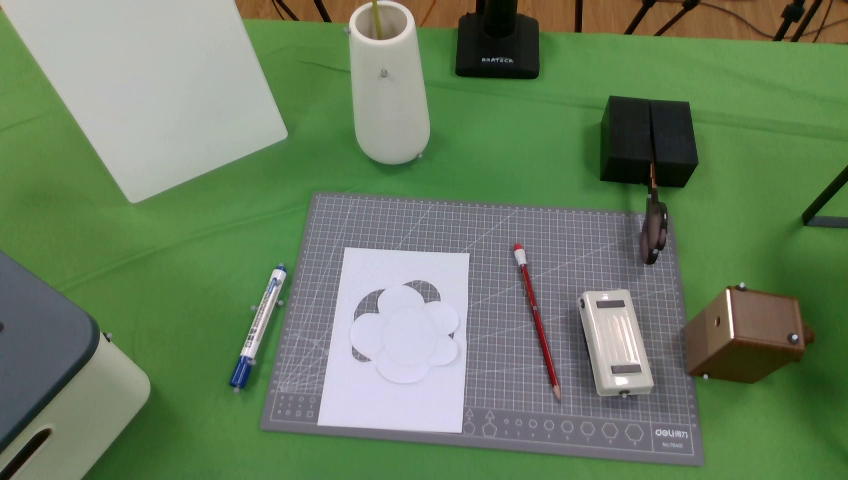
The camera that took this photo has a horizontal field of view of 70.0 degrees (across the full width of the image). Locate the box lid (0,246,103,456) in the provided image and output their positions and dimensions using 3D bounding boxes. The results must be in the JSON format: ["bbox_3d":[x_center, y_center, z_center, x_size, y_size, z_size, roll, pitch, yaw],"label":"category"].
[{"bbox_3d":[-0.489,0.085,0.513,0.369,0.015,0.262,28,64,16],"label":"box lid"}]

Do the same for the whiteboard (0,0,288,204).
[{"bbox_3d":[-0.334,-0.240,0.736,0.217,0.308,0.142,-27,44,-13],"label":"whiteboard"}]

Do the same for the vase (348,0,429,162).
[{"bbox_3d":[-0.044,-0.185,0.727,0.098,0.201,0.097,-1,59,2],"label":"vase"}]

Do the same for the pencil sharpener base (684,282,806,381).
[{"bbox_3d":[0.322,0.095,0.614,0.076,0.108,0.061,8,60,2],"label":"pencil sharpener base"}]

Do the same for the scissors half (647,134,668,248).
[{"bbox_3d":[0.270,-0.064,0.711,0.013,0.040,0.173,10,52,1],"label":"scissors half"}]

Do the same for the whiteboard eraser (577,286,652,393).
[{"bbox_3d":[0.201,0.106,0.646,0.055,0.042,0.111,-4,61,0],"label":"whiteboard eraser"}]

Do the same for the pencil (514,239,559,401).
[{"bbox_3d":[0.126,0.085,0.678,0.012,0.012,0.192,-8,62,-3],"label":"pencil"}]

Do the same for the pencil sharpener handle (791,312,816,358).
[{"bbox_3d":[0.373,0.098,0.601,0.030,0.068,0.035,8,54,2],"label":"pencil sharpener handle"}]

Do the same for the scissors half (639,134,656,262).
[{"bbox_3d":[0.270,-0.054,0.728,0.013,0.040,0.174,8,69,6],"label":"scissors half"}]

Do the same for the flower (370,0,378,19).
[{"bbox_3d":[-0.052,-0.238,0.661,0.044,0.365,0.038,-3,43,3],"label":"flower"}]

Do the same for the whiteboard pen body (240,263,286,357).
[{"bbox_3d":[-0.182,0.087,0.677,0.017,0.017,0.139,10,59,7],"label":"whiteboard pen body"}]

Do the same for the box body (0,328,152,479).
[{"bbox_3d":[-0.486,0.124,0.577,0.362,0.161,0.253,28,65,16],"label":"box body"}]

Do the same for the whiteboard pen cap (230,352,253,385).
[{"bbox_3d":[-0.193,0.137,0.647,0.018,0.018,0.033,9,56,7],"label":"whiteboard pen cap"}]
